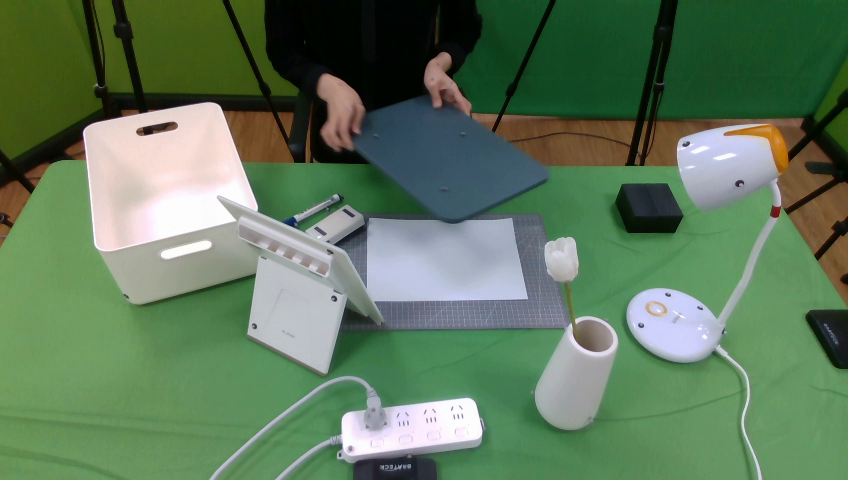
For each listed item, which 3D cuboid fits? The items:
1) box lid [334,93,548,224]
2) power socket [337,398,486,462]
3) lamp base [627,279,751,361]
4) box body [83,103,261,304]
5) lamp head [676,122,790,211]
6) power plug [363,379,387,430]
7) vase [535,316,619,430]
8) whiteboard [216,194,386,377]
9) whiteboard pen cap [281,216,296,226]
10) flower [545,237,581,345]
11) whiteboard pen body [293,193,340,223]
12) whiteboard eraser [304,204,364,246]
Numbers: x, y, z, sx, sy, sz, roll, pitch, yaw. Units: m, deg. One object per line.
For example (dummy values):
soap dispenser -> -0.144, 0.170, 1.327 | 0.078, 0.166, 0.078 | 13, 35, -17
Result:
box lid -> 0.028, -0.169, 1.150 | 0.263, 0.015, 0.369 | -26, 51, -30
power socket -> -0.018, 0.285, 0.914 | 0.227, 0.033, 0.071 | -4, 46, -8
lamp base -> 0.460, 0.100, 1.027 | 0.178, 0.181, 0.160 | 27, 51, 17
box body -> -0.465, -0.077, 1.137 | 0.254, 0.161, 0.361 | -16, 50, -19
lamp head -> 0.423, -0.104, 0.819 | 0.122, 0.113, 0.112 | -13, 33, 40
power plug -> -0.071, 0.252, 0.911 | 0.035, 0.053, 0.072 | 3, 40, 0
vase -> 0.229, 0.200, 0.901 | 0.098, 0.201, 0.097 | 3, 46, -3
whiteboard -> -0.212, 0.093, 0.939 | 0.216, 0.307, 0.143 | 24, 70, 17
whiteboard pen cap -> -0.273, -0.034, 1.213 | 0.033, 0.018, 0.018 | -32, 56, -31
flower -> 0.213, 0.137, 0.846 | 0.038, 0.364, 0.044 | 22, 55, 40
whiteboard pen body -> -0.230, -0.061, 1.243 | 0.141, 0.017, 0.017 | -32, 56, -30
whiteboard eraser -> -0.175, -0.022, 1.188 | 0.055, 0.042, 0.112 | 36, 53, 26
